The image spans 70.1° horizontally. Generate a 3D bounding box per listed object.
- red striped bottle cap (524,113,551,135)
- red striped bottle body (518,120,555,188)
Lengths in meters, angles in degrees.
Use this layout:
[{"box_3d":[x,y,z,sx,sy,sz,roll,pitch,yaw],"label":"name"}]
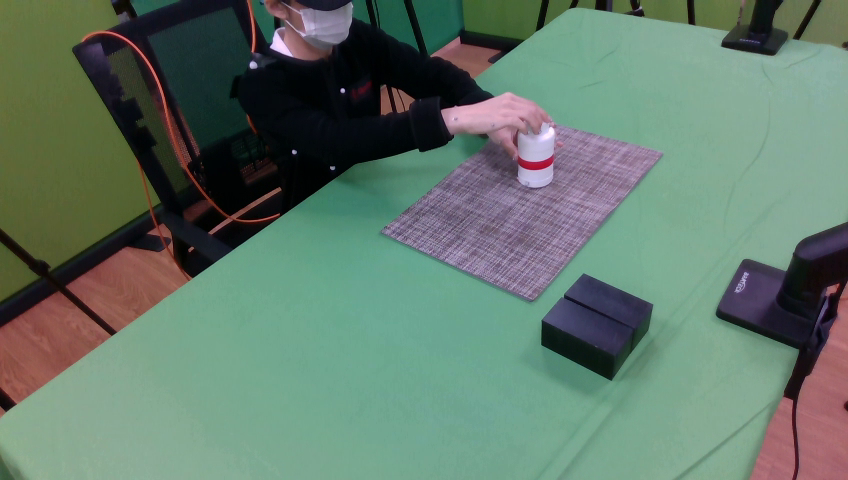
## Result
[{"box_3d":[0.189,-0.195,1.012,0.044,0.018,0.044,-8,40,7],"label":"red striped bottle cap"},{"box_3d":[0.194,-0.156,1.046,0.063,0.120,0.062,-5,39,4],"label":"red striped bottle body"}]
